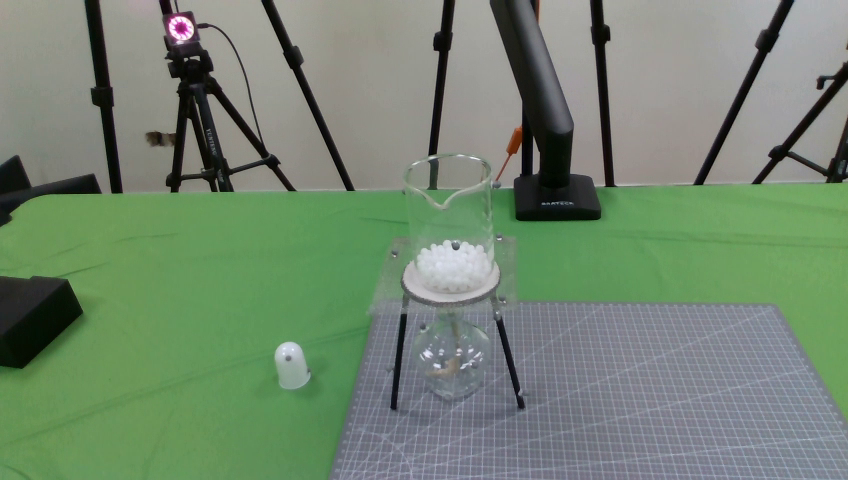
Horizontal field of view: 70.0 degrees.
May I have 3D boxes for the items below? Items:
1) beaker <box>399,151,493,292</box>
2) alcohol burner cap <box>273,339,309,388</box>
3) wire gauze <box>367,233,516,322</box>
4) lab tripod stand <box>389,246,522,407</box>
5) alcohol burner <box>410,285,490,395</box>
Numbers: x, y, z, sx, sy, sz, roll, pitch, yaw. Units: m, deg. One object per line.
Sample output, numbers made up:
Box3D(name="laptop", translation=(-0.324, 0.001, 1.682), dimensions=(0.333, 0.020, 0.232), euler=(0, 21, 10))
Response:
Box3D(name="beaker", translation=(0.021, -0.013, 0.504), dimensions=(0.074, 0.101, 0.083), euler=(0, 33, 10))
Box3D(name="alcohol burner cap", translation=(-0.136, 0.122, 0.615), dimensions=(0.034, 0.048, 0.033), euler=(-2, 34, 2))
Box3D(name="wire gauze", translation=(0.019, 0.028, 0.532), dimensions=(0.121, 0.011, 0.124), euler=(-2, 34, 9))
Box3D(name="lab tripod stand", translation=(0.025, 0.081, 0.571), dimensions=(0.148, 0.132, 0.147), euler=(-4, 31, 3))
Box3D(name="alcohol burner", translation=(0.024, 0.090, 0.576), dimensions=(0.078, 0.120, 0.077), euler=(-2, 34, 1))
